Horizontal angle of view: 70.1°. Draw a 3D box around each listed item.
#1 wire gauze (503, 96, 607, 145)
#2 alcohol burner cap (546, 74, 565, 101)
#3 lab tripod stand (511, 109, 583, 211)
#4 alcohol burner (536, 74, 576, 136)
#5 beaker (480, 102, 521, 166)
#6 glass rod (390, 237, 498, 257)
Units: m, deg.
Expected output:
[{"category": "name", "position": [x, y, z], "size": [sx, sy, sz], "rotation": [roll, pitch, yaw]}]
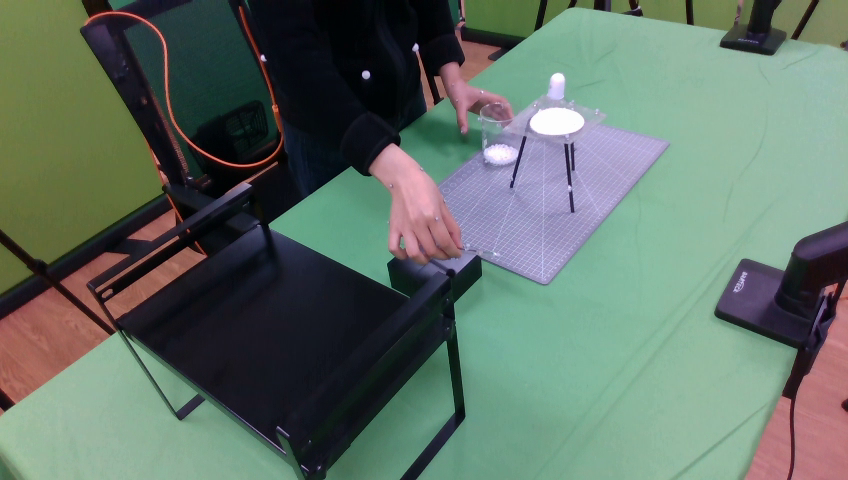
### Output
[{"category": "wire gauze", "position": [0.211, -0.192, 0.975], "size": [0.120, 0.011, 0.125], "rotation": [24, 49, 32]}, {"category": "alcohol burner cap", "position": [0.251, -0.292, 1.151], "size": [0.034, 0.048, 0.033], "rotation": [0, 41, 1]}, {"category": "lab tripod stand", "position": [0.220, -0.138, 1.014], "size": [0.148, 0.132, 0.147], "rotation": [-3, 41, 3]}, {"category": "alcohol burner", "position": [0.256, -0.265, 1.173], "size": [0.078, 0.119, 0.077], "rotation": [-6, 40, 5]}, {"category": "beaker", "position": [0.143, -0.196, 1.121], "size": [0.074, 0.101, 0.084], "rotation": [3, 41, 12]}, {"category": "glass rod", "position": [0.023, 0.009, 0.869], "size": [0.198, 0.008, 0.008], "rotation": [8, 40, 40]}]
